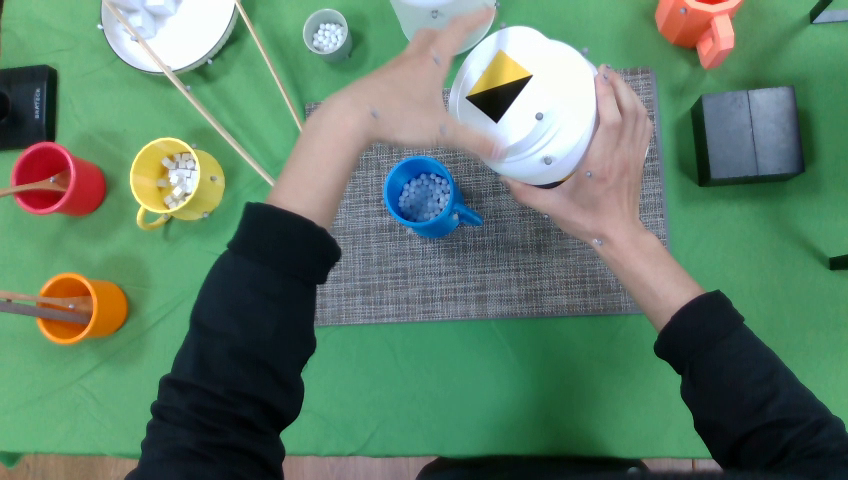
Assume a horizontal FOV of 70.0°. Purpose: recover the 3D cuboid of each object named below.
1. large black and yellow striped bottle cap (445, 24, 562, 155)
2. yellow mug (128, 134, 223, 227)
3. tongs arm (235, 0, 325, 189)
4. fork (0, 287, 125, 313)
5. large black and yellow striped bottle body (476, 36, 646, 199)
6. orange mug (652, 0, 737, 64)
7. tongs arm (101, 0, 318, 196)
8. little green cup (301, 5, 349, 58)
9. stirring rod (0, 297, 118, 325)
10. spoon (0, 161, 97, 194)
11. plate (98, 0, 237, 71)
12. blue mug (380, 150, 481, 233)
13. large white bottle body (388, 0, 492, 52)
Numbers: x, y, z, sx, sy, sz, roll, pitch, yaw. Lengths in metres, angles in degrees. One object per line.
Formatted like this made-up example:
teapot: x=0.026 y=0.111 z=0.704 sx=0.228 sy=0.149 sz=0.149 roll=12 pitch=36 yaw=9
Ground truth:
large black and yellow striped bottle cap: x=0.066 y=-0.132 z=0.532 sx=0.114 sy=0.019 sz=0.114 roll=-13 pitch=70 yaw=39
yellow mug: x=-0.340 y=-0.072 z=0.812 sx=0.099 sy=0.064 sz=0.131 roll=35 pitch=92 yaw=10
tongs arm: x=-0.220 y=-0.246 z=0.806 sx=0.028 sy=0.028 sz=0.387 roll=-27 pitch=88 yaw=-3
fork: x=-0.500 y=0.072 z=0.781 sx=0.209 sy=0.018 sz=0.028 roll=13 pitch=84 yaw=-33
large black and yellow striped bottle body: x=0.124 y=-0.119 z=0.597 sx=0.130 sy=0.185 sz=0.130 roll=-8 pitch=77 yaw=40
orange mug: x=0.325 y=-0.276 z=0.706 sx=0.083 sy=0.101 sz=0.125 roll=-14 pitch=78 yaw=8
tongs arm: x=-0.288 y=-0.196 z=0.809 sx=0.051 sy=0.026 sz=0.384 roll=-42 pitch=87 yaw=0
little green cup: x=-0.130 y=-0.276 z=0.809 sx=0.061 sy=0.039 sz=0.061 roll=-1 pitch=86 yaw=9
stirring rod: x=-0.491 y=0.090 z=0.781 sx=0.006 sy=0.177 sz=0.014 roll=-19 pitch=61 yaw=50
spoon: x=-0.539 y=-0.070 z=0.804 sx=0.194 sy=0.021 sz=0.041 roll=-21 pitch=77 yaw=-38
plate: x=-0.354 y=-0.336 z=0.851 sx=0.207 sy=0.039 sz=0.207 roll=-1 pitch=85 yaw=9
blue mug: x=0.015 y=-0.050 z=0.728 sx=0.116 sy=0.106 sz=0.082 roll=22 pitch=88 yaw=11
large white bottle body: x=0.012 y=-0.320 z=0.716 sx=0.130 sy=0.185 sz=0.130 roll=-1 pitch=84 yaw=10
